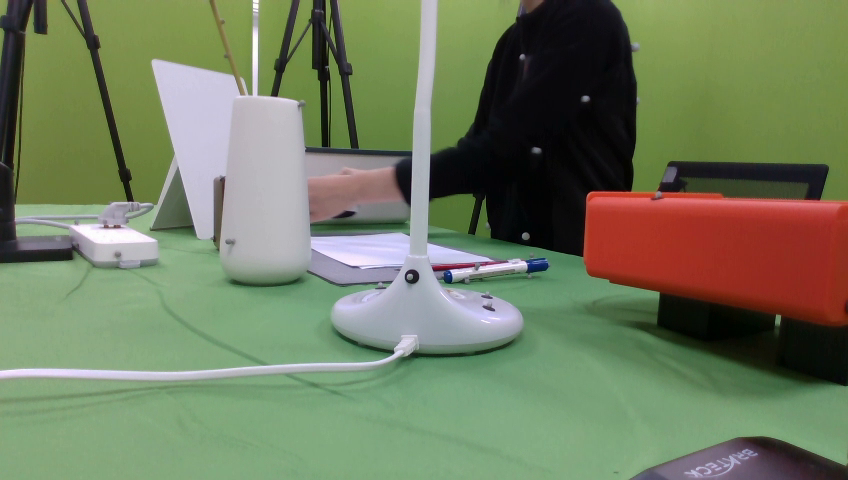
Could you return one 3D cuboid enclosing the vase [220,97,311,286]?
[{"bbox_3d":[-0.172,-0.052,0.662,0.098,0.200,0.098,3,9,0],"label":"vase"}]

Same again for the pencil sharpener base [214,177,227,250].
[{"bbox_3d":[-0.265,-0.036,0.870,0.061,0.107,0.076,-2,8,-29],"label":"pencil sharpener base"}]

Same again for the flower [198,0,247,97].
[{"bbox_3d":[-0.187,-0.133,0.648,0.038,0.362,0.044,-1,22,43],"label":"flower"}]

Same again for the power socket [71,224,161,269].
[{"bbox_3d":[-0.408,0.004,0.793,0.072,0.032,0.225,-2,8,-38],"label":"power socket"}]

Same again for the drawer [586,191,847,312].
[{"bbox_3d":[0.281,0.001,0.512,0.195,0.073,0.210,-1,8,-29],"label":"drawer"}]

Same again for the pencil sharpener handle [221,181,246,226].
[{"bbox_3d":[-0.289,-0.055,0.912,0.036,0.067,0.030,-3,9,-29],"label":"pencil sharpener handle"}]

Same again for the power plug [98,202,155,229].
[{"bbox_3d":[-0.416,-0.027,0.848,0.073,0.052,0.035,0,8,-28],"label":"power plug"}]

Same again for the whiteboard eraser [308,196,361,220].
[{"bbox_3d":[-0.176,-0.059,1.111,0.113,0.042,0.055,1,2,-31],"label":"whiteboard eraser"}]

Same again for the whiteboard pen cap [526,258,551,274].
[{"bbox_3d":[0.141,0.033,0.759,0.033,0.018,0.018,-7,11,-26],"label":"whiteboard pen cap"}]

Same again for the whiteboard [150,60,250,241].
[{"bbox_3d":[-0.408,-0.139,1.093,0.143,0.305,0.218,-15,-1,26],"label":"whiteboard"}]

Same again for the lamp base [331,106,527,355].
[{"bbox_3d":[0.006,-0.012,0.478,0.161,0.180,0.179,2,10,2],"label":"lamp base"}]

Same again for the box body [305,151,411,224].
[{"bbox_3d":[-0.230,-0.126,1.371,0.366,0.160,0.253,-2,8,-33],"label":"box body"}]

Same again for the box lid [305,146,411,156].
[{"bbox_3d":[-0.229,-0.200,1.360,0.373,0.015,0.262,-3,9,-33],"label":"box lid"}]

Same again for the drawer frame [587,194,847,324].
[{"bbox_3d":[0.285,0.004,0.508,0.203,0.082,0.212,-1,6,-29],"label":"drawer frame"}]

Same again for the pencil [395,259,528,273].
[{"bbox_3d":[0.053,0.035,0.784,0.195,0.012,0.012,-3,9,-25],"label":"pencil"}]

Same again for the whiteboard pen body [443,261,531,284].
[{"bbox_3d":[0.087,0.038,0.734,0.141,0.017,0.017,-5,10,-27],"label":"whiteboard pen body"}]
